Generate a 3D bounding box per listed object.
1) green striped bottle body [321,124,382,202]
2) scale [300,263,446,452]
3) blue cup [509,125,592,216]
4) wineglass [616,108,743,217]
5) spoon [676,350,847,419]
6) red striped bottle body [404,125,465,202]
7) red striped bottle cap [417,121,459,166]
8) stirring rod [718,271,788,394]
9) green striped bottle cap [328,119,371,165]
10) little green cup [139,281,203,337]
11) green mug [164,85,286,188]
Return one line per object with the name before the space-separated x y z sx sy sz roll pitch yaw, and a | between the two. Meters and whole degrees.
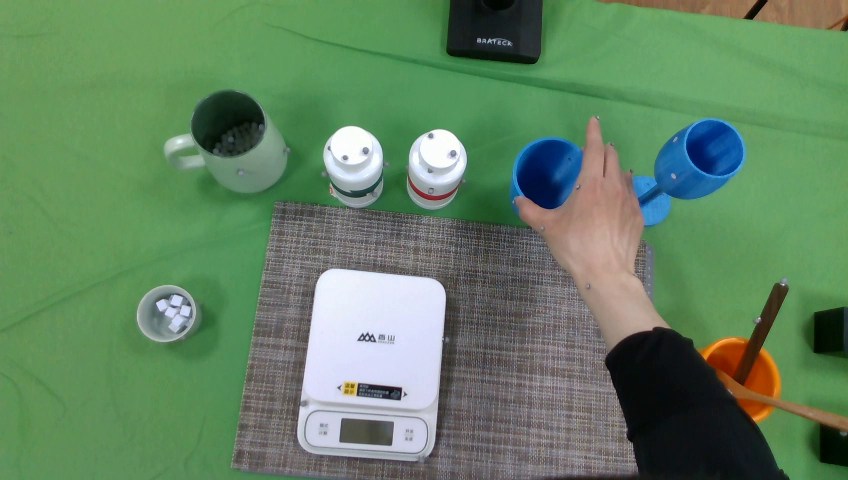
green striped bottle body | -0.079 -0.089 0.673 0.063 0.119 0.063 1 77 -3
scale | -0.054 0.128 0.669 0.149 0.031 0.200 5 78 -2
blue cup | 0.135 -0.069 0.690 0.093 0.100 0.092 0 79 -1
wineglass | 0.273 -0.079 0.666 0.074 0.173 0.073 1 77 -2
spoon | 0.361 0.157 0.634 0.022 0.192 0.041 24 82 -43
red striped bottle body | 0.011 -0.088 0.679 0.063 0.120 0.062 1 77 -4
red striped bottle cap | 0.015 -0.100 0.628 0.044 0.018 0.044 1 80 -2
stirring rod | 0.348 0.104 0.645 0.014 0.177 0.006 10 37 11
green striped bottle cap | -0.077 -0.101 0.622 0.044 0.020 0.044 1 77 -4
little green cup | -0.274 0.078 0.665 0.061 0.039 0.061 1 77 -5
green mug | -0.223 -0.109 0.676 0.125 0.105 0.092 -16 79 -6
